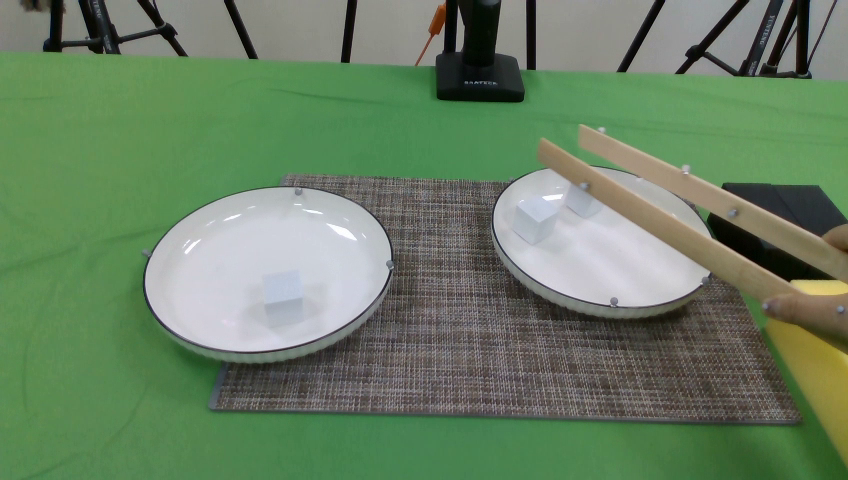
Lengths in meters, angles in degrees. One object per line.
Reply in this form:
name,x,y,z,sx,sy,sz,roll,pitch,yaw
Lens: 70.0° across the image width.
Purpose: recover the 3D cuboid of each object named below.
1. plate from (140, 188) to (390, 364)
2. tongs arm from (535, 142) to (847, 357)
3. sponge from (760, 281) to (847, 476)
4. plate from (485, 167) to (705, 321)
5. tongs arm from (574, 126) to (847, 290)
plate,-0.133,0.029,0.533,0.209,0.038,0.207,2,41,-2
tongs arm,0.218,0.012,0.441,0.028,0.028,0.383,-23,42,-28
sponge,0.363,0.124,0.451,0.118,0.061,0.204,-1,42,-4
plate,0.160,0.003,0.583,0.208,0.039,0.205,2,42,-2
tongs arm,0.244,-0.001,0.454,0.051,0.027,0.380,-27,44,-27
